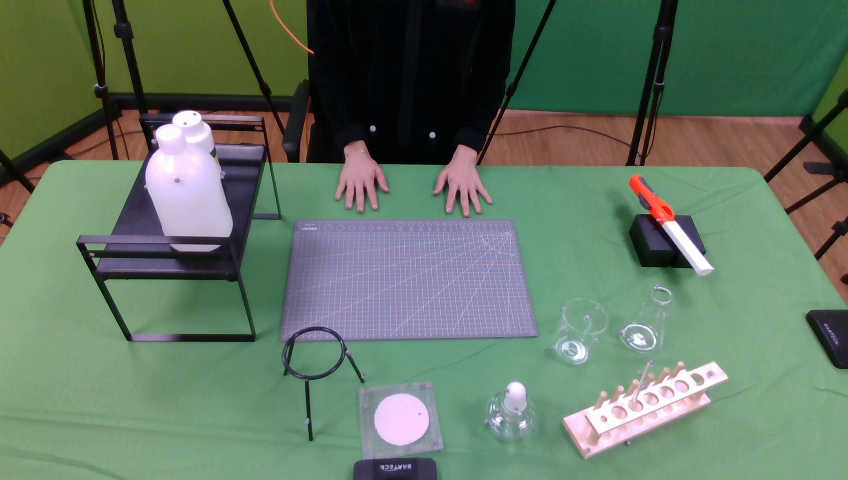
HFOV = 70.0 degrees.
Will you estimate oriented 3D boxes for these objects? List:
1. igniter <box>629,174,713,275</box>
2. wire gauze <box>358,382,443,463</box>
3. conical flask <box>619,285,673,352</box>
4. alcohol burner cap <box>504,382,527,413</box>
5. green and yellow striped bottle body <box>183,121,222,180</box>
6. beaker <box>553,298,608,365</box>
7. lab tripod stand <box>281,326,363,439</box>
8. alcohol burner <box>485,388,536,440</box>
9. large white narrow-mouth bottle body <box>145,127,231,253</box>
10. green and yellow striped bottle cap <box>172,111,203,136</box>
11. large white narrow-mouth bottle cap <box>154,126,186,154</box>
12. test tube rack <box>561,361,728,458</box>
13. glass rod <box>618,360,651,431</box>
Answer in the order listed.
[{"bbox_3d":[0.481,-0.040,1.202,0.057,0.025,0.274,-2,46,-21],"label":"igniter"},{"bbox_3d":[-0.039,0.277,0.937,0.121,0.011,0.124,-4,47,-7],"label":"wire gauze"},{"bbox_3d":[0.385,0.130,1.031,0.075,0.122,0.075,2,46,-2],"label":"conical flask"},{"bbox_3d":[0.133,0.225,0.877,0.034,0.048,0.033,-4,47,5],"label":"alcohol burner cap"},{"bbox_3d":[-0.375,-0.149,0.995,0.063,0.120,0.063,2,46,-2],"label":"green and yellow striped bottle body"},{"bbox_3d":[0.260,0.154,1.015,0.073,0.101,0.084,37,54,27],"label":"beaker"},{"bbox_3d":[-0.166,0.202,0.913,0.148,0.132,0.147,1,47,-1],"label":"lab tripod stand"},{"bbox_3d":[0.131,0.249,0.904,0.078,0.120,0.077,1,48,-1],"label":"alcohol burner"},{"bbox_3d":[-0.345,-0.077,0.877,0.102,0.195,0.101,2,48,-2],"label":"large white narrow-mouth bottle body"},{"bbox_3d":[-0.374,-0.185,0.958,0.045,0.020,0.045,4,46,-4],"label":"green and yellow striped bottle cap"},{"bbox_3d":[-0.340,-0.135,0.813,0.038,0.024,0.037,2,48,-2],"label":"large white narrow-mouth bottle cap"},{"bbox_3d":[0.341,0.248,0.940,0.243,0.085,0.066,-15,49,-18],"label":"test tube rack"},{"bbox_3d":[0.298,0.227,0.865,0.008,0.201,0.008,-1,47,2],"label":"glass rod"}]
